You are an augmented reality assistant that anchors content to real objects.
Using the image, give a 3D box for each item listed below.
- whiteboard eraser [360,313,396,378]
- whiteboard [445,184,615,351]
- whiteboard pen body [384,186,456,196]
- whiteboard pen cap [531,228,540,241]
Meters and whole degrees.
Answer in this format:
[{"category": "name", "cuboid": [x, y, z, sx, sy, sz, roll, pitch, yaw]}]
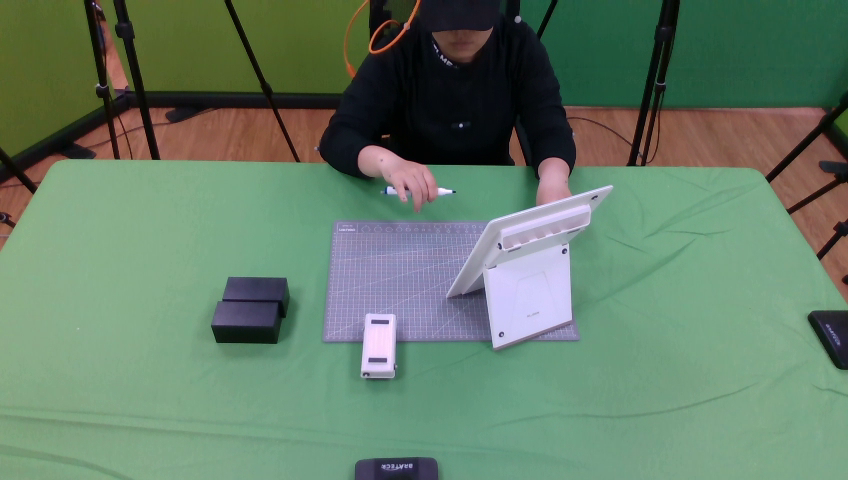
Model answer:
[{"category": "whiteboard eraser", "cuboid": [-0.075, 0.176, 1.006, 0.055, 0.042, 0.112, 3, 50, -4]}, {"category": "whiteboard", "cuboid": [0.187, 0.065, 0.989, 0.217, 0.306, 0.143, -15, 68, -18]}, {"category": "whiteboard pen body", "cuboid": [-0.008, -0.094, 1.175, 0.141, 0.017, 0.017, 2, 46, 3]}, {"category": "whiteboard pen cap", "cuboid": [0.225, -0.011, 1.220, 0.018, 0.018, 0.033, 13, 30, 8]}]
